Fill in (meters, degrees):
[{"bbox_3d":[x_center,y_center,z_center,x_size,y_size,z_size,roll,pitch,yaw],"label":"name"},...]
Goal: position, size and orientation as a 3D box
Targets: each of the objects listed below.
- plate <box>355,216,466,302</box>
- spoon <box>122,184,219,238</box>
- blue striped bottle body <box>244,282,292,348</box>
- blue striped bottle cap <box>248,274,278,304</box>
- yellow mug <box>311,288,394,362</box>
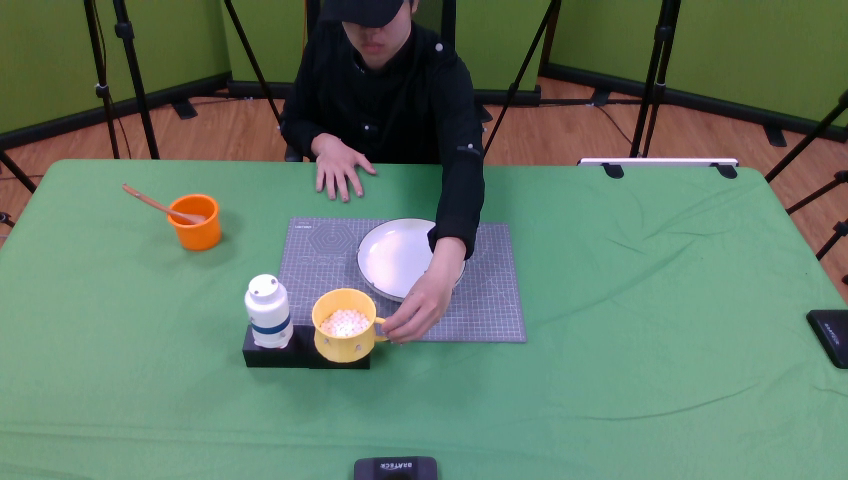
[{"bbox_3d":[-0.026,0.039,1.144,0.208,0.039,0.206,2,46,-2],"label":"plate"},{"bbox_3d":[-0.463,-0.053,1.118,0.195,0.021,0.041,28,37,-35],"label":"spoon"},{"bbox_3d":[-0.241,0.108,0.937,0.063,0.121,0.062,2,46,-2],"label":"blue striped bottle body"},{"bbox_3d":[-0.239,0.072,0.900,0.044,0.021,0.044,4,46,-4],"label":"blue striped bottle cap"},{"bbox_3d":[-0.111,0.136,0.959,0.131,0.064,0.099,8,45,1],"label":"yellow mug"}]
